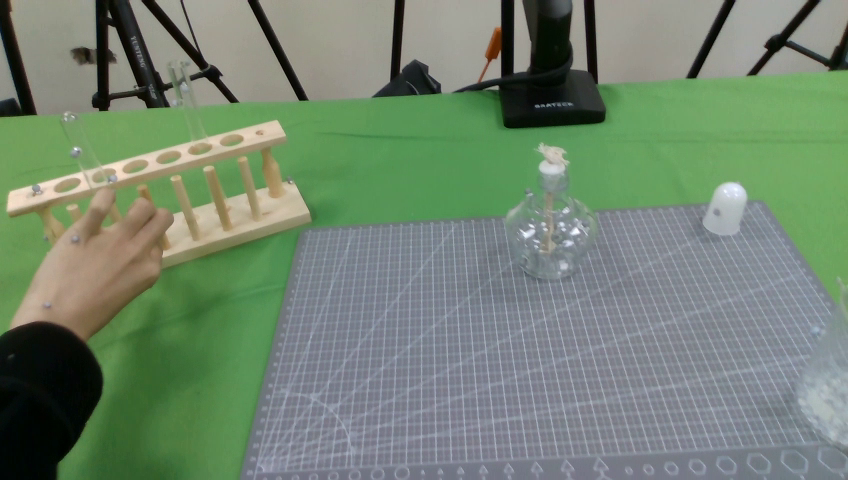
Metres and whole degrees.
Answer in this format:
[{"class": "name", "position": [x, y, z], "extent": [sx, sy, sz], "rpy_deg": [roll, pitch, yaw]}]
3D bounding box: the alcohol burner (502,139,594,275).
[{"class": "alcohol burner", "position": [0.103, -0.030, 0.504], "extent": [0.078, 0.120, 0.077], "rpy_deg": [-4, 40, 4]}]

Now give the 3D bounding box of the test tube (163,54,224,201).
[{"class": "test tube", "position": [-0.212, -0.098, 0.564], "extent": [0.017, 0.151, 0.017], "rpy_deg": [-2, 38, 2]}]

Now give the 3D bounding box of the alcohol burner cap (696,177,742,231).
[{"class": "alcohol burner cap", "position": [0.269, -0.035, 0.549], "extent": [0.034, 0.048, 0.033], "rpy_deg": [-3, 41, 3]}]

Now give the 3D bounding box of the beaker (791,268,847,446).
[{"class": "beaker", "position": [0.279, 0.075, 0.378], "extent": [0.074, 0.101, 0.083], "rpy_deg": [-23, 44, -19]}]

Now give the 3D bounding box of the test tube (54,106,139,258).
[{"class": "test tube", "position": [-0.277, -0.045, 0.517], "extent": [0.017, 0.152, 0.017], "rpy_deg": [-2, 39, 2]}]

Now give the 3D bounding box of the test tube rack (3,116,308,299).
[{"class": "test tube rack", "position": [-0.242, -0.035, 0.571], "extent": [0.243, 0.086, 0.066], "rpy_deg": [-19, 43, -16]}]
